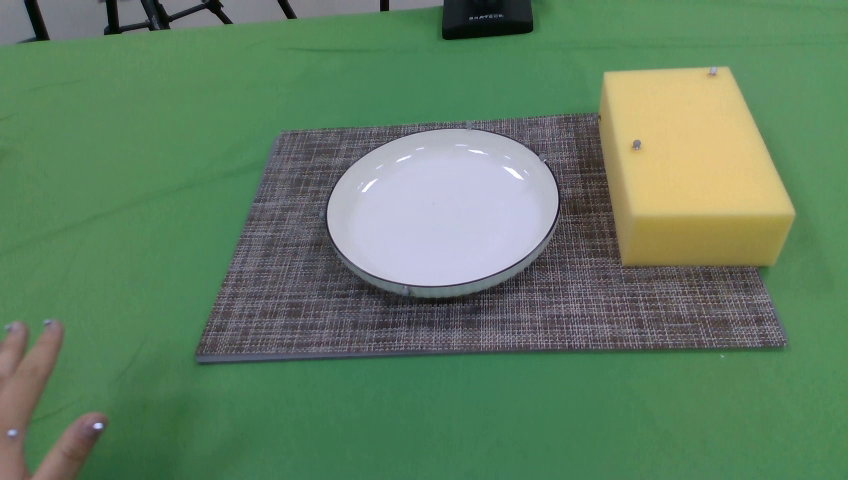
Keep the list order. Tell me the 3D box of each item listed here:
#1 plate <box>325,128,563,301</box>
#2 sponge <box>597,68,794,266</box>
[{"bbox_3d":[0.018,-0.024,0.542,0.207,0.039,0.205,-4,46,5],"label":"plate"},{"bbox_3d":[0.227,-0.072,0.540,0.118,0.061,0.205,-1,46,8],"label":"sponge"}]
